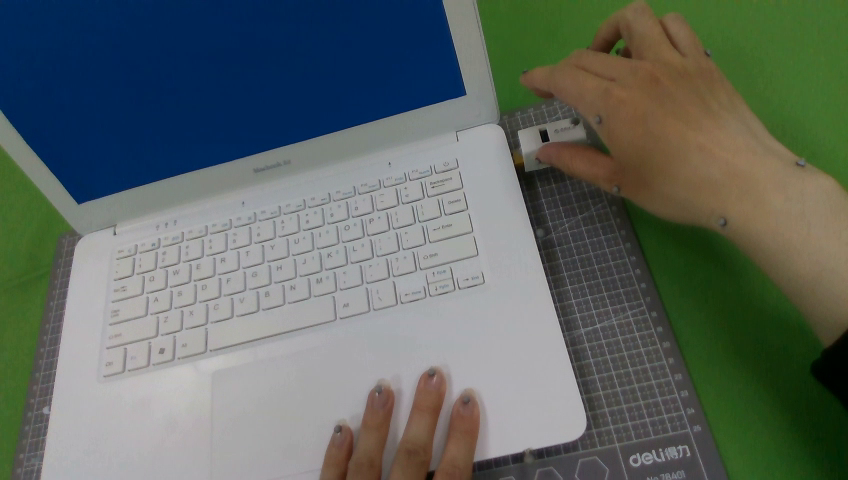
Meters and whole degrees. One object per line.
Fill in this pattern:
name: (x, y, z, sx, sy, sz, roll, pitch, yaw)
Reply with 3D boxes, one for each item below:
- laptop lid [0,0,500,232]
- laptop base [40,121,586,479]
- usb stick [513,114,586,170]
laptop lid: (-0.141, -0.130, 0.401, 0.356, 0.244, 0.013, -15, 41, 8)
laptop base: (-0.092, 0.054, 0.419, 0.354, 0.023, 0.233, -14, 62, 7)
usb stick: (0.083, -0.067, 0.426, 0.059, 0.027, 0.021, -15, 59, 11)
